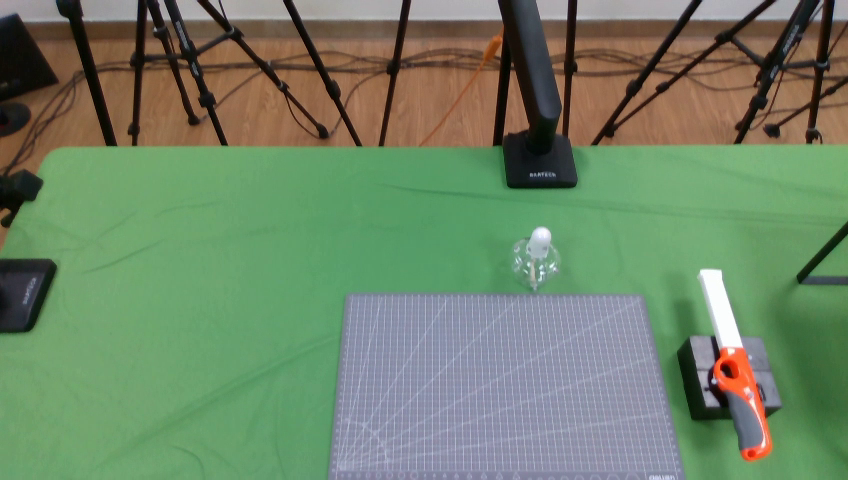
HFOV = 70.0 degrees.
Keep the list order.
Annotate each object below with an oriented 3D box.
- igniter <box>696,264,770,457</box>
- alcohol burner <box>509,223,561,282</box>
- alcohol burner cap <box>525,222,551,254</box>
[{"bbox_3d":[0.404,0.148,0.800,0.057,0.025,0.274,3,53,2],"label":"igniter"},{"bbox_3d":[0.167,0.011,0.894,0.078,0.120,0.077,1,57,-2],"label":"alcohol burner"},{"bbox_3d":[0.166,-0.006,0.868,0.034,0.048,0.033,2,55,-2],"label":"alcohol burner cap"}]
